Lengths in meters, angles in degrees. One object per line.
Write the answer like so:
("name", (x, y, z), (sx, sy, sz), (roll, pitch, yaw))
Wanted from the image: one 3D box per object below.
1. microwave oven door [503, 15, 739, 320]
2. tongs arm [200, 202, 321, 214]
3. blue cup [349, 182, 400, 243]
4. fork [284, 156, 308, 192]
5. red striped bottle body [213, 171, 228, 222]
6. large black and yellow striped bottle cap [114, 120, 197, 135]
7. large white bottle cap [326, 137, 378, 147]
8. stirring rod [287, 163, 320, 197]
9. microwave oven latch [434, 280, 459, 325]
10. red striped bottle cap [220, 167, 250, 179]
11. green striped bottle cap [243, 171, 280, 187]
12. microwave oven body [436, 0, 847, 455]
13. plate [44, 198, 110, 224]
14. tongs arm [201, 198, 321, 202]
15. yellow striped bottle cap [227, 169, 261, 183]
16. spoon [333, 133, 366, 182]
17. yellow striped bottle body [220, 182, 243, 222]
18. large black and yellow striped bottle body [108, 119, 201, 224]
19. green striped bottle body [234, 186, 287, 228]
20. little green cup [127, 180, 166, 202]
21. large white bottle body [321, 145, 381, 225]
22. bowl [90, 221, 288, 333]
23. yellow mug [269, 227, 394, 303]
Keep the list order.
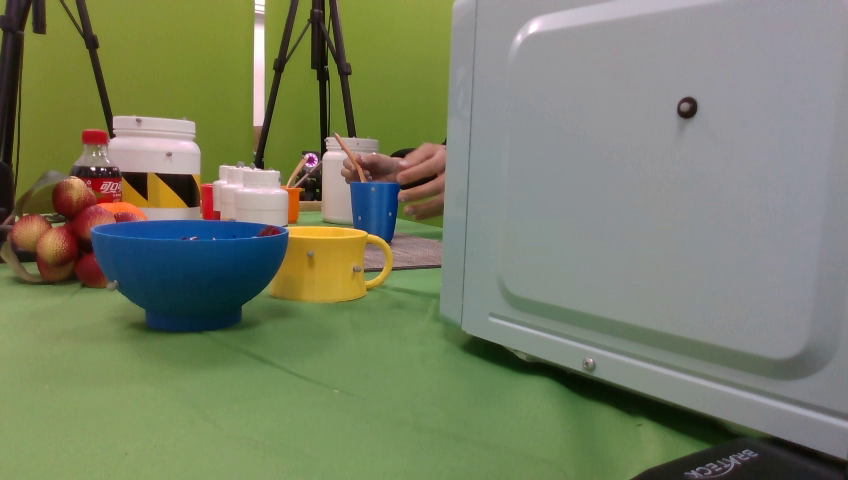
("microwave oven door", (0.218, -0.065, 0.600), (0.358, 0.243, 0.039), (-4, 10, -41))
("tongs arm", (-0.378, -0.079, 1.440), (0.387, 0.026, 0.050), (-4, 8, -44))
("blue cup", (-0.083, -0.047, 1.012), (0.093, 0.100, 0.092), (1, 6, 0))
("fork", (-0.295, -0.116, 1.323), (0.028, 0.019, 0.207), (0, 50, 21))
("red striped bottle body", (-0.284, -0.048, 0.909), (0.063, 0.119, 0.063), (3, 12, 0))
("large black and yellow striped bottle cap", (-0.407, -0.171, 0.920), (0.115, 0.019, 0.115), (2, 9, 0))
("large white bottle cap", (-0.158, -0.214, 1.329), (0.115, 0.018, 0.115), (2, 7, 0))
("stirring rod", (-0.283, -0.107, 1.298), (0.014, 0.006, 0.176), (10, 52, 51))
("microwave oven latch", (0.044, 0.045, 0.470), (0.079, 0.029, 0.030), (-2, 8, -39))
("red striped bottle cap", (-0.281, -0.100, 0.901), (0.044, 0.017, 0.044), (-1, 5, 0))
("green striped bottle cap", (-0.198, -0.074, 0.736), (0.044, 0.020, 0.044), (1, 7, 0))
("microwave oven body", (0.279, -0.040, 0.465), (0.444, 0.260, 0.324), (-3, 9, -41))
("plate", (-0.617, -0.056, 1.179), (0.209, 0.038, 0.209), (3, 7, 0))
("tongs arm", (-0.433, -0.090, 1.508), (0.390, 0.028, 0.028), (-1, 2, -29))
("yellow striped bottle cap", (-0.243, -0.087, 0.818), (0.044, 0.018, 0.044), (3, 6, 0))
("spoon", (-0.115, -0.119, 1.043), (0.021, 0.193, 0.042), (-38, -29, 21))
("yellow striped bottle body", (-0.245, -0.036, 0.825), (0.063, 0.120, 0.063), (3, 8, 0))
("large black and yellow striped bottle body", (-0.412, -0.088, 0.930), (0.131, 0.184, 0.130), (3, 7, 0))
("green striped bottle body", (-0.200, -0.023, 0.743), (0.063, 0.119, 0.063), (2, 7, 0))
("little green cup", (-0.485, -0.086, 1.061), (0.061, 0.038, 0.061), (1, 7, 0))
("large white bottle body", (-0.162, -0.131, 1.340), (0.131, 0.184, 0.130), (2, 8, 0))
("bowl", (-0.190, 0.029, 0.500), (0.151, 0.077, 0.151), (3, 7, 0))
("yellow mug", (-0.094, 0.023, 0.629), (0.131, 0.064, 0.099), (0, 7, -22))
